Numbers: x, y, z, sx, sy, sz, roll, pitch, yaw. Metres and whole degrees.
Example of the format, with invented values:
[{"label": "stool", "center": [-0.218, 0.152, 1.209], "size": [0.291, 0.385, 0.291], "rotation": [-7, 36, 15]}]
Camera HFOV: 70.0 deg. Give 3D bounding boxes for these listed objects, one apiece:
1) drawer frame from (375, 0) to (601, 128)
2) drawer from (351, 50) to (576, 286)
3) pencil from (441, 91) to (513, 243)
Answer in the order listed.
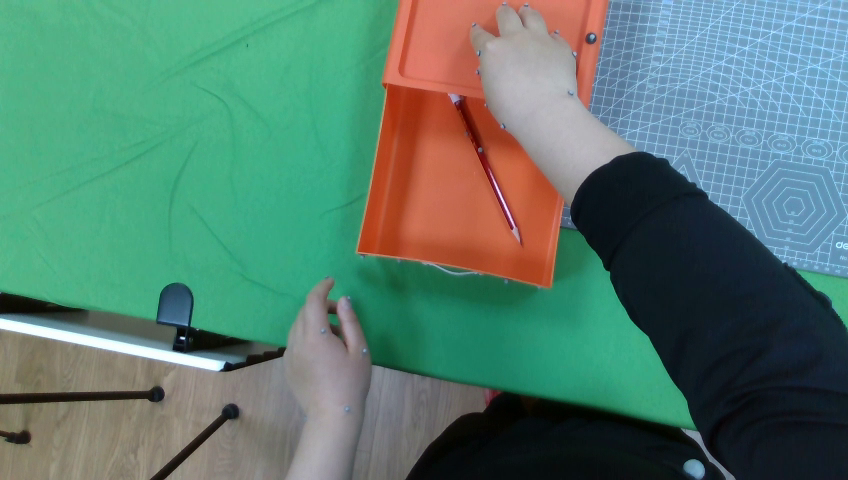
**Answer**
[{"label": "drawer frame", "center": [0.072, -0.233, 0.608], "size": [0.201, 0.083, 0.213], "rotation": [10, 88, 9]}, {"label": "drawer", "center": [0.044, -0.071, 0.609], "size": [0.194, 0.073, 0.211], "rotation": [10, 91, 10]}, {"label": "pencil", "center": [0.055, -0.086, 0.634], "size": [0.012, 0.012, 0.193], "rotation": [-23, 86, 7]}]
